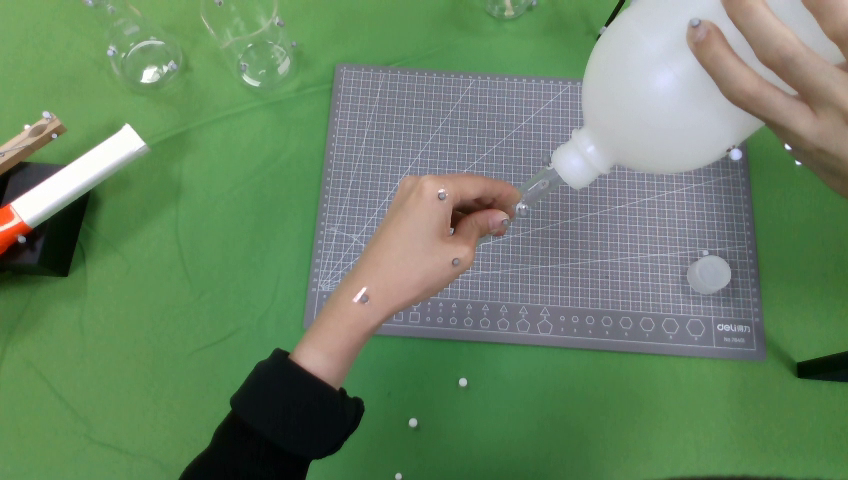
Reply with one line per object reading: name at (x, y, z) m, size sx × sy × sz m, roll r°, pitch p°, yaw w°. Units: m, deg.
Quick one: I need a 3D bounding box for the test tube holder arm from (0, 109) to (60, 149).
test tube holder arm at (-0.424, -0.066, 0.573) m, size 0.178 × 0.015 × 0.013 m, roll -40°, pitch 77°, yaw -12°

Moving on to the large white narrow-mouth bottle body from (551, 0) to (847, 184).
large white narrow-mouth bottle body at (0.152, -0.101, 0.335) m, size 0.195 × 0.102 × 0.101 m, roll -42°, pitch 73°, yaw 29°

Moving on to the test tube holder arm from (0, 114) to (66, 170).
test tube holder arm at (-0.387, -0.090, 0.581) m, size 0.088 × 0.015 × 0.010 m, roll -39°, pitch 77°, yaw -12°

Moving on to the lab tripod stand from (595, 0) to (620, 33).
lab tripod stand at (0.261, -0.290, 0.641) m, size 0.148 × 0.132 × 0.147 m, roll 1°, pitch 72°, yaw -2°

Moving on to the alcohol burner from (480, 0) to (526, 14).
alcohol burner at (0.092, -0.303, 0.653) m, size 0.078 × 0.120 × 0.077 m, roll 1°, pitch 71°, yaw -2°

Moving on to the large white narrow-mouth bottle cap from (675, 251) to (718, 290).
large white narrow-mouth bottle cap at (0.271, 0.031, 0.601) m, size 0.038 × 0.024 × 0.037 m, roll 0°, pitch 74°, yaw 0°

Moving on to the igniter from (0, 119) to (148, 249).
igniter at (-0.382, -0.021, 0.557) m, size 0.276 × 0.025 × 0.057 m, roll -40°, pitch 79°, yaw -15°

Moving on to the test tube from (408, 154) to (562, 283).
test tube at (0.040, -0.011, 0.427) m, size 0.150 × 0.017 × 0.017 m, roll -39°, pitch 72°, yaw 32°

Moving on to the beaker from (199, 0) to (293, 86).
beaker at (-0.181, -0.212, 0.629) m, size 0.074 × 0.101 × 0.083 m, roll 18°, pitch 74°, yaw 6°

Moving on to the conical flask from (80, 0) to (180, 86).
conical flask at (-0.306, -0.219, 0.617) m, size 0.075 × 0.122 × 0.075 m, roll 0°, pitch 72°, yaw 0°
